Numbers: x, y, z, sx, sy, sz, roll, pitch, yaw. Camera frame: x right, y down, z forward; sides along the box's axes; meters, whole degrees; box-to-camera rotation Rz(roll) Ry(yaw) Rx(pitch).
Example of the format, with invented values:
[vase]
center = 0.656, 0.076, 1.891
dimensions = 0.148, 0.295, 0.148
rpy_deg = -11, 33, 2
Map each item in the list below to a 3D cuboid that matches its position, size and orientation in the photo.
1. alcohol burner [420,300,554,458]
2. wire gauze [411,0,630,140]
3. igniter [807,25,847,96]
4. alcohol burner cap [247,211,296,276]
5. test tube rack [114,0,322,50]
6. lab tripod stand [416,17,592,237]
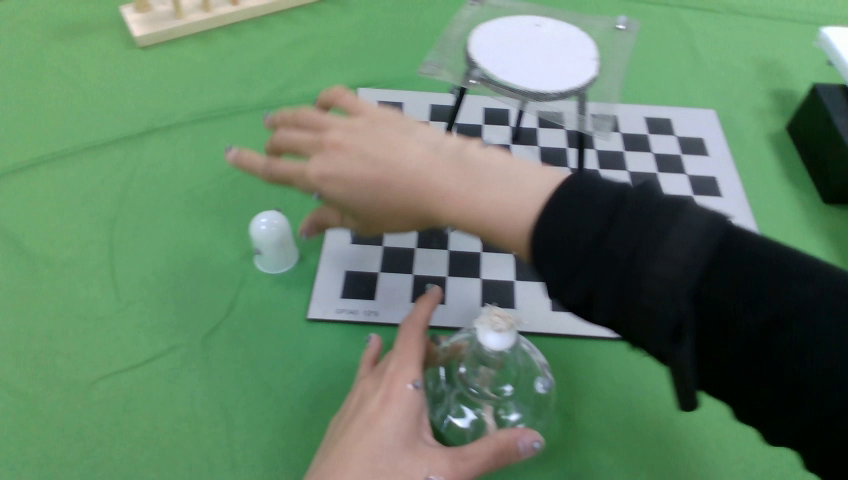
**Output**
[alcohol burner]
center = 0.036, 0.074, 0.339
dimensions = 0.078, 0.120, 0.077
rpy_deg = 0, 49, 0
[wire gauze]
center = 0.067, -0.121, 0.394
dimensions = 0.125, 0.011, 0.120
rpy_deg = 18, 52, 10
[igniter]
center = 0.374, -0.094, 0.486
dimensions = 0.057, 0.025, 0.274
rpy_deg = 2, 49, 3
[alcohol burner cap]
center = -0.113, 0.000, 0.438
dimensions = 0.034, 0.048, 0.033
rpy_deg = 2, 51, -2
[test tube rack]
center = -0.204, -0.285, 0.636
dimensions = 0.243, 0.086, 0.066
rpy_deg = -24, 56, -21
[lab tripod stand]
center = 0.068, -0.081, 0.448
dimensions = 0.148, 0.132, 0.147
rpy_deg = 3, 50, -3
